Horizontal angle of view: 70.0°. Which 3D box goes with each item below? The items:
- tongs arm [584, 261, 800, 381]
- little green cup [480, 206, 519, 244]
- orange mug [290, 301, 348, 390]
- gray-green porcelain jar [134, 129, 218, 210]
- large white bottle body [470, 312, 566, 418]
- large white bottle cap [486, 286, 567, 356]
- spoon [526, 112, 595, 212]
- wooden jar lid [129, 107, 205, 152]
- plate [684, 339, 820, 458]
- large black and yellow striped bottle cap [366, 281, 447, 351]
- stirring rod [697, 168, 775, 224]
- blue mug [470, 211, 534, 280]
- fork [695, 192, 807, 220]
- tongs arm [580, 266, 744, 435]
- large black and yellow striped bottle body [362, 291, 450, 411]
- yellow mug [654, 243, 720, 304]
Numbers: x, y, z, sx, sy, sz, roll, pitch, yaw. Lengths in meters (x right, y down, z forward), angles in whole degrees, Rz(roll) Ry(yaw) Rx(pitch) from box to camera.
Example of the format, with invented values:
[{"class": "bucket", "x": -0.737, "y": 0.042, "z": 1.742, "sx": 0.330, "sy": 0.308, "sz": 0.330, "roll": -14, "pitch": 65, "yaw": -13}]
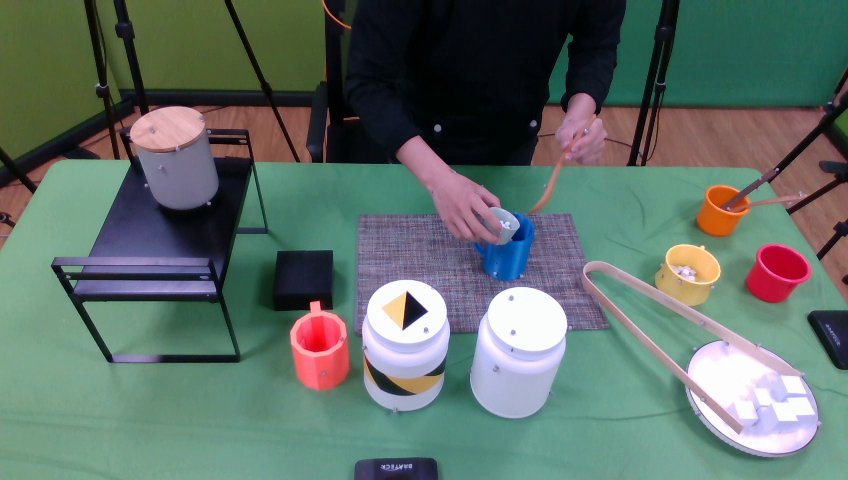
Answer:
[{"class": "tongs arm", "x": 0.452, "y": 0.137, "z": 1.064, "sx": 0.051, "sy": 0.027, "sz": 0.382, "roll": -34, "pitch": 50, "yaw": -27}, {"class": "little green cup", "x": 0.127, "y": -0.025, "z": 1.032, "sx": 0.062, "sy": 0.039, "sz": 0.061, "roll": 22, "pitch": 31, "yaw": -14}, {"class": "orange mug", "x": -0.170, "y": 0.162, "z": 0.976, "sx": 0.083, "sy": 0.101, "sz": 0.125, "roll": -7, "pitch": 52, "yaw": -12}, {"class": "gray-green porcelain jar", "x": -0.388, "y": -0.120, "z": 0.960, "sx": 0.106, "sy": 0.127, "sz": 0.105, "roll": 2, "pitch": 46, "yaw": -2}, {"class": "large white bottle body", "x": 0.143, "y": 0.174, "z": 0.930, "sx": 0.131, "sy": 0.185, "sz": 0.130, "roll": 2, "pitch": 46, "yaw": -2}, {"class": "large white bottle cap", "x": 0.147, "y": 0.114, "z": 0.869, "sx": 0.115, "sy": 0.018, "sz": 0.114, "roll": 3, "pitch": 46, "yaw": -3}, {"class": "spoon", "x": 0.224, "y": -0.126, "z": 1.001, "sx": 0.021, "sy": 0.194, "sz": 0.041, "roll": 32, "pitch": 20, "yaw": 17}, {"class": "wooden jar lid", "x": -0.385, "y": -0.163, "z": 0.915, "sx": 0.108, "sy": 0.021, "sz": 0.107, "roll": 2, "pitch": 47, "yaw": -2}, {"class": "plate", "x": 0.523, "y": 0.256, "z": 0.982, "sx": 0.208, "sy": 0.039, "sz": 0.206, "roll": 2, "pitch": 46, "yaw": -2}, {"class": "large black and yellow striped bottle cap", "x": -0.025, "y": 0.106, "z": 0.866, "sx": 0.115, "sy": 0.019, "sz": 0.114, "roll": 2, "pitch": 46, "yaw": -1}, {"class": "stirring rod", "x": 0.644, "y": -0.090, "z": 1.252, "sx": 0.176, "sy": 0.006, "sz": 0.014, "roll": -40, "pitch": 53, "yaw": 16}, {"class": "blue mug", "x": 0.141, "y": 0.005, "z": 1.140, "sx": 0.116, "sy": 0.106, "sz": 0.082, "roll": 20, "pitch": 48, "yaw": 14}, {"class": "fork", "x": 0.655, "y": -0.069, "z": 1.224, "sx": 0.207, "sy": 0.019, "sz": 0.028, "roll": -17, "pitch": 34, "yaw": 45}, {"class": "tongs arm", "x": 0.384, "y": 0.173, "z": 1.029, "sx": 0.028, "sy": 0.028, "sz": 0.385, "roll": -25, "pitch": 46, "yaw": -15}, {"class": "large black and yellow striped bottle body", "x": -0.029, "y": 0.163, "z": 0.928, "sx": 0.131, "sy": 0.185, "sz": 0.130, "roll": 2, "pitch": 47, "yaw": -2}, {"class": "yellow mug", "x": 0.504, "y": 0.054, "z": 1.154, "sx": 0.099, "sy": 0.064, "sz": 0.130, "roll": 29, "pitch": 50, "yaw": 22}]
